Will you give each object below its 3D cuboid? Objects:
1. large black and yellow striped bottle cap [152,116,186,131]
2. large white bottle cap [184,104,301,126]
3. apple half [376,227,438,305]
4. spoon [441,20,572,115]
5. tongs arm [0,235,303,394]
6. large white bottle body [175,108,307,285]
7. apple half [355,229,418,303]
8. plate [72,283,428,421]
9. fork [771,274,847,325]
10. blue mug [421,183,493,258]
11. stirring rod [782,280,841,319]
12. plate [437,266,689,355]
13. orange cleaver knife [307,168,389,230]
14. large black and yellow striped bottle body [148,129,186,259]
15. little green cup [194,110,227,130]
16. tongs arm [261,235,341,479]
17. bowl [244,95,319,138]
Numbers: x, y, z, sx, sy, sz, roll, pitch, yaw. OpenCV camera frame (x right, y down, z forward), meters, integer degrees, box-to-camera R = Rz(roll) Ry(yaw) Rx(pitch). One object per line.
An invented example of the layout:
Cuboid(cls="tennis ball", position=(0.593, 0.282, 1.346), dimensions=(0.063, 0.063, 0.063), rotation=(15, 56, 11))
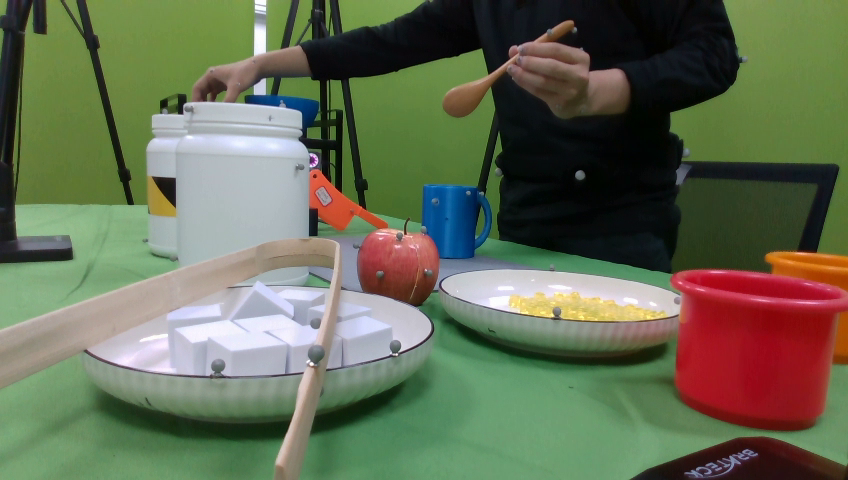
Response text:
Cuboid(cls="large black and yellow striped bottle cap", position=(-0.309, -0.155, 0.826), dimensions=(0.115, 0.019, 0.115), rotation=(3, 6, 0))
Cuboid(cls="large white bottle cap", position=(-0.184, -0.126, 0.618), dimensions=(0.115, 0.018, 0.115), rotation=(2, 8, 0))
Cuboid(cls="apple half", position=(-0.017, 0.026, 0.593), dimensions=(0.080, 0.074, 0.053), rotation=(4, 2, 43))
Cuboid(cls="spoon", position=(0.103, -0.223, 0.776), dimensions=(0.193, 0.042, 0.021), rotation=(-34, 21, 16))
Cuboid(cls="tongs arm", position=(-0.157, 0.038, 0.351), dimensions=(0.028, 0.028, 0.388), rotation=(-3, 8, 12))
Cuboid(cls="large white bottle body", position=(-0.188, -0.042, 0.630), dimensions=(0.131, 0.184, 0.130), rotation=(2, 8, 0))
Cuboid(cls="apple half", position=(-0.044, 0.027, 0.564), dimensions=(0.081, 0.081, 0.033), rotation=(9, 5, 42))
Cuboid(cls="plate", position=(-0.102, 0.066, 0.381), dimensions=(0.208, 0.039, 0.207), rotation=(2, 7, 0))
Cuboid(cls="fork", position=(0.332, 0.018, 0.442), dimensions=(0.028, 0.018, 0.207), rotation=(-1, -36, -15))
Cuboid(cls="blue mug", position=(0.052, -0.032, 0.912), dimensions=(0.117, 0.106, 0.082), rotation=(-1, 8, -24))
Cuboid(cls="stirring rod", position=(0.344, 0.019, 0.460), dimensions=(0.014, 0.006, 0.176), rotation=(-13, -27, -30))
Cuboid(cls="plate", position=(0.114, 0.057, 0.517), dimensions=(0.209, 0.038, 0.209), rotation=(3, 7, 0))
Cuboid(cls="orange cleaver knife", position=(-0.158, -0.060, 1.166), dimensions=(0.212, 0.077, 0.012), rotation=(34, -12, -32))
Cuboid(cls="large black and yellow striped bottle body", position=(-0.310, -0.073, 0.838), dimensions=(0.131, 0.184, 0.130), rotation=(2, 8, 0))
Cuboid(cls="little green cup", position=(-0.412, -0.233, 1.170), dimensions=(0.061, 0.038, 0.061), rotation=(0, 13, 0))
Cuboid(cls="tongs arm", position=(-0.073, 0.039, 0.349), dimensions=(0.051, 0.026, 0.384), rotation=(-2, 10, -3))
Cuboid(cls="bowl", position=(-0.293, -0.251, 1.249), dimensions=(0.151, 0.077, 0.151), rotation=(2, 8, 0))
